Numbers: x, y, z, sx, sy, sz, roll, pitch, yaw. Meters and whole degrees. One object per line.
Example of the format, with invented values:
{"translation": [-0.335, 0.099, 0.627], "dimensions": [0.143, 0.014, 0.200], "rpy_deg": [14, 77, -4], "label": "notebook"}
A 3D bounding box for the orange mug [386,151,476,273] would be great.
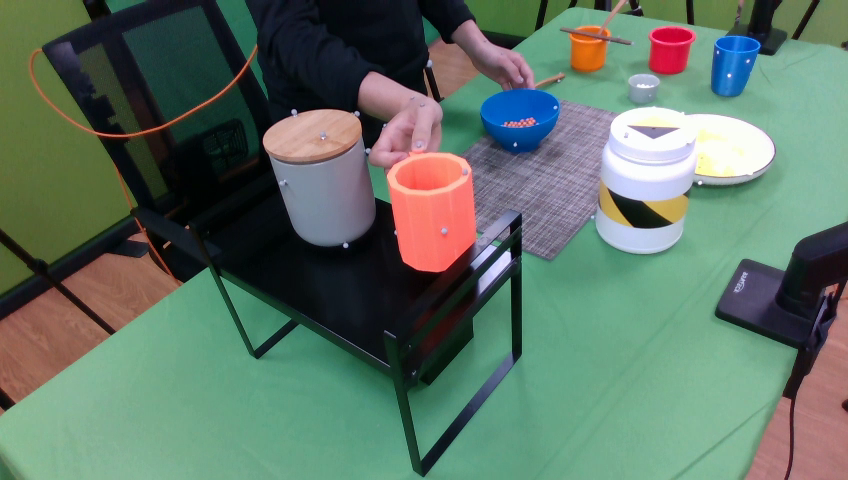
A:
{"translation": [0.005, -0.040, 0.653], "dimensions": [0.084, 0.101, 0.125], "rpy_deg": [-13, 41, -7], "label": "orange mug"}

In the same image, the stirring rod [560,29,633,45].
{"translation": [0.381, -0.452, 1.345], "dimensions": [0.174, 0.006, 0.014], "rpy_deg": [25, 49, 33], "label": "stirring rod"}

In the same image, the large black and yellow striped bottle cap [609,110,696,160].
{"translation": [0.319, -0.150, 0.849], "dimensions": [0.115, 0.019, 0.114], "rpy_deg": [-4, 39, 3], "label": "large black and yellow striped bottle cap"}

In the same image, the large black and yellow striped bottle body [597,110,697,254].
{"translation": [0.331, -0.086, 0.904], "dimensions": [0.131, 0.185, 0.130], "rpy_deg": [-5, 41, 4], "label": "large black and yellow striped bottle body"}

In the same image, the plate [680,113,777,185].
{"translation": [0.506, -0.158, 1.073], "dimensions": [0.209, 0.038, 0.208], "rpy_deg": [-5, 40, 4], "label": "plate"}

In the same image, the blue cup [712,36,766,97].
{"translation": [0.627, -0.350, 1.227], "dimensions": [0.092, 0.100, 0.092], "rpy_deg": [-4, 39, 4], "label": "blue cup"}

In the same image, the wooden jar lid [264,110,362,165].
{"translation": [-0.122, -0.112, 0.673], "dimensions": [0.108, 0.021, 0.108], "rpy_deg": [-5, 37, 4], "label": "wooden jar lid"}

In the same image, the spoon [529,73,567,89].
{"translation": [0.250, -0.336, 1.332], "dimensions": [0.194, 0.022, 0.041], "rpy_deg": [-32, 31, -26], "label": "spoon"}

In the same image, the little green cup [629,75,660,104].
{"translation": [0.458, -0.314, 1.260], "dimensions": [0.061, 0.039, 0.061], "rpy_deg": [-4, 40, 4], "label": "little green cup"}

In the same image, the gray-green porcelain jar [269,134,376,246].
{"translation": [-0.115, -0.064, 0.715], "dimensions": [0.106, 0.127, 0.105], "rpy_deg": [-4, 40, 4], "label": "gray-green porcelain jar"}

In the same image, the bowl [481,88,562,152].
{"translation": [0.187, -0.222, 1.161], "dimensions": [0.151, 0.077, 0.150], "rpy_deg": [-5, 39, 4], "label": "bowl"}

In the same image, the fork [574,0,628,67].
{"translation": [0.413, -0.481, 1.377], "dimensions": [0.207, 0.019, 0.028], "rpy_deg": [-56, 43, 12], "label": "fork"}
